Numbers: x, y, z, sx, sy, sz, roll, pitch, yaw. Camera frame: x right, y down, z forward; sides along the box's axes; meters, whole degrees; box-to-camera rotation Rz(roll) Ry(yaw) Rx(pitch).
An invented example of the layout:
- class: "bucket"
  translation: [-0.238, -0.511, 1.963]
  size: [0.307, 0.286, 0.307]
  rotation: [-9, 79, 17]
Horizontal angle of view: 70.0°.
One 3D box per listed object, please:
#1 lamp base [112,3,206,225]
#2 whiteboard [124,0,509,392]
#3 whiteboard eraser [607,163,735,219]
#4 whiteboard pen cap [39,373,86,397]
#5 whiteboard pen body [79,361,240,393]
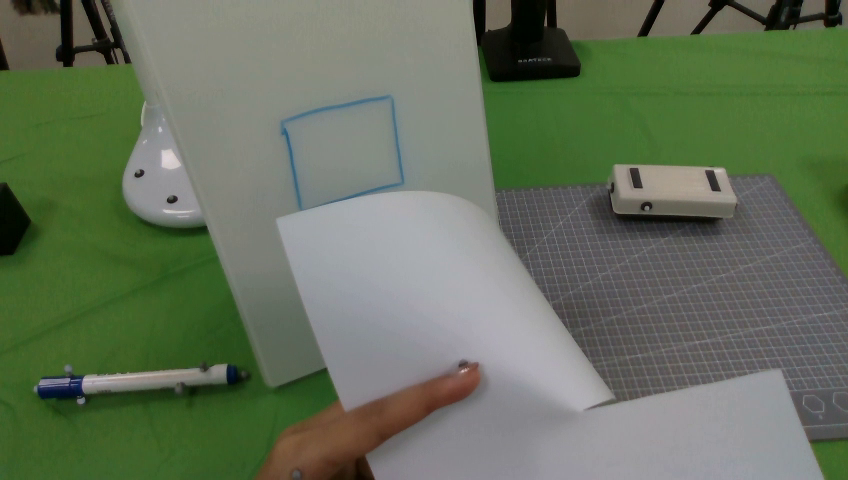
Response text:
- class: "lamp base"
  translation: [-0.251, -0.132, 0.604]
  size: [0.177, 0.182, 0.160]
  rotation: [27, 52, 29]
- class: "whiteboard"
  translation: [-0.073, -0.073, 0.492]
  size: [0.217, 0.308, 0.142]
  rotation: [-19, 28, -15]
- class: "whiteboard eraser"
  translation: [0.241, -0.047, 0.599]
  size: [0.112, 0.042, 0.055]
  rotation: [2, 44, 4]
- class: "whiteboard pen cap"
  translation: [-0.277, 0.112, 0.468]
  size: [0.033, 0.018, 0.018]
  rotation: [-2, 44, -9]
- class: "whiteboard pen body"
  translation: [-0.217, 0.109, 0.474]
  size: [0.141, 0.017, 0.017]
  rotation: [-3, 45, -7]
